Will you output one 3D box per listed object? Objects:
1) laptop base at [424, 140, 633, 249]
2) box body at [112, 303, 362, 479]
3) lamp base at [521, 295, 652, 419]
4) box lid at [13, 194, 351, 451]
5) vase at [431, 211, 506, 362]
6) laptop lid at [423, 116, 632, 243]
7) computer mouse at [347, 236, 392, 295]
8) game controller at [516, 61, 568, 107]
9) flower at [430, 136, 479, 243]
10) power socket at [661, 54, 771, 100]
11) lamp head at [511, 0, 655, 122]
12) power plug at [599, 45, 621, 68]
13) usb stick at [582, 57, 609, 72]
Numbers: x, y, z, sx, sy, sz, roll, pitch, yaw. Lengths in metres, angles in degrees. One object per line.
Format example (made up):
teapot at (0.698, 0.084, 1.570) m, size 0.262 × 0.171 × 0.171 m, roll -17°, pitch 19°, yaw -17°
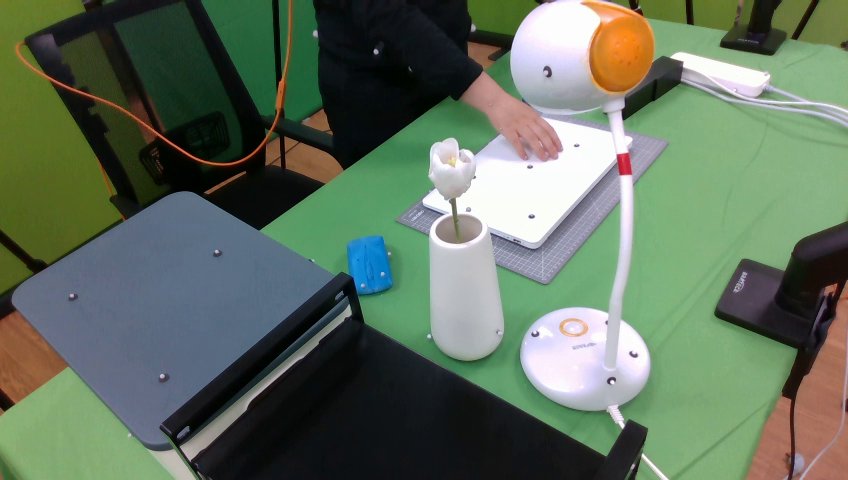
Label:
laptop base at (0.194, -0.117, 1.087) m, size 0.233 × 0.023 × 0.355 m, roll 21°, pitch 47°, yaw 34°
box body at (-0.285, 0.123, 0.766) m, size 0.361 × 0.161 × 0.255 m, roll 25°, pitch 49°, yaw 33°
lamp base at (0.201, 0.095, 0.710) m, size 0.161 × 0.181 × 0.177 m, roll -16°, pitch 43°, yaw -10°
box lid at (-0.292, 0.067, 0.717) m, size 0.368 × 0.015 × 0.264 m, roll 25°, pitch 50°, yaw 33°
vase at (0.054, 0.062, 0.757) m, size 0.098 × 0.201 × 0.097 m, roll -3°, pitch 40°, yaw 3°
laptop lid at (0.190, -0.126, 1.081) m, size 0.239 × 0.013 × 0.358 m, roll 23°, pitch 48°, yaw 34°
computer mouse at (-0.086, 0.035, 0.936) m, size 0.063 × 0.041 × 0.116 m, roll -8°, pitch 44°, yaw -5°
game controller at (0.259, -0.352, 1.336) m, size 0.097 × 0.052 × 0.154 m, roll -2°, pitch 41°, yaw 2°
flower at (0.041, 0.011, 0.691) m, size 0.044 × 0.363 × 0.038 m, roll 16°, pitch 63°, yaw 14°
power socket at (0.615, -0.348, 1.285) m, size 0.072 × 0.033 × 0.225 m, roll -36°, pitch 48°, yaw -28°
lamp head at (0.155, -0.168, 0.563) m, size 0.113 × 0.113 × 0.122 m, roll -18°, pitch 23°, yaw -12°
power plug at (0.437, -0.422, 1.412) m, size 0.053 × 0.035 × 0.072 m, roll -16°, pitch 74°, yaw -46°
usb stick at (0.393, -0.402, 1.388) m, size 0.059 × 0.027 × 0.021 m, roll -4°, pitch 54°, yaw 15°
